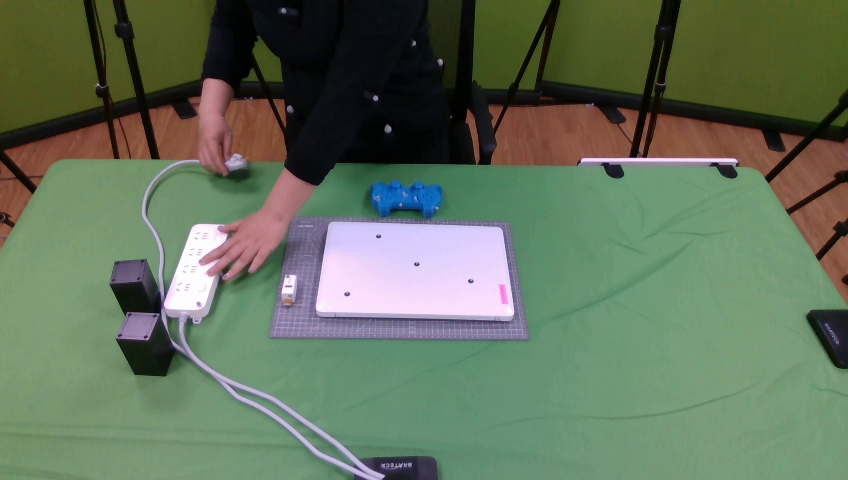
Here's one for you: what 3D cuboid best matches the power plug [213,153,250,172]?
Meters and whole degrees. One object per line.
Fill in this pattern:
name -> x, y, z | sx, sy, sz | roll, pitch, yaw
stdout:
power plug -> -0.403, -0.169, 1.272 | 0.072, 0.035, 0.052 | 27, 54, 15

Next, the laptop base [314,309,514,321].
laptop base -> -0.017, 0.059, 1.141 | 0.354, 0.023, 0.234 | 2, 42, -3

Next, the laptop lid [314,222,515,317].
laptop lid -> -0.016, 0.049, 1.134 | 0.357, 0.013, 0.240 | 3, 43, -2

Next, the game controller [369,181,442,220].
game controller -> -0.039, -0.092, 1.268 | 0.155, 0.052, 0.096 | 2, 50, -2

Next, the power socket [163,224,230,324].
power socket -> -0.412, 0.052, 1.106 | 0.072, 0.033, 0.225 | 4, 46, -4

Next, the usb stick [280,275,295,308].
usb stick -> -0.244, 0.093, 1.081 | 0.021, 0.027, 0.059 | 3, 48, -5
